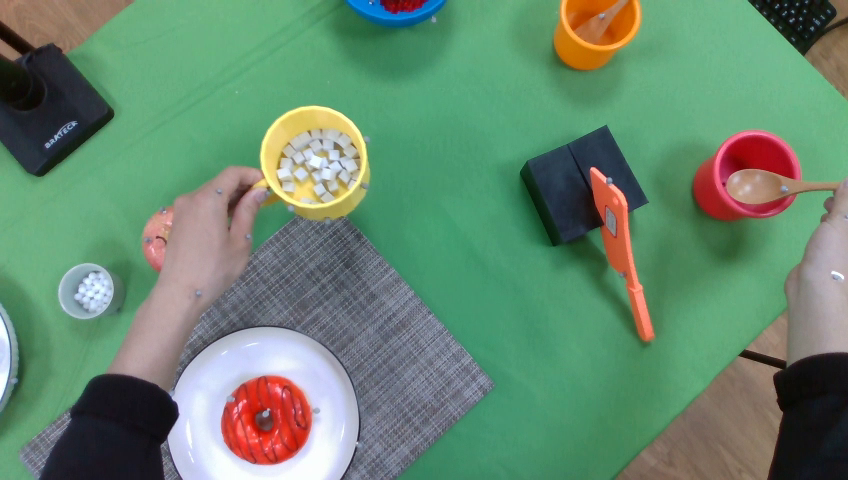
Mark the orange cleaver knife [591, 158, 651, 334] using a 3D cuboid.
[{"bbox_3d":[0.218,0.010,0.674,0.012,0.076,0.213,-22,116,-2],"label":"orange cleaver knife"}]

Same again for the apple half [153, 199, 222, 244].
[{"bbox_3d":[-0.256,-0.026,0.676,0.081,0.081,0.033,28,87,3],"label":"apple half"}]

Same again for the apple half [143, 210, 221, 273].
[{"bbox_3d":[-0.273,0.008,0.674,0.081,0.074,0.053,28,88,-1],"label":"apple half"}]

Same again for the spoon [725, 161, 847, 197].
[{"bbox_3d":[0.402,-0.059,0.599,0.022,0.192,0.041,34,71,-42],"label":"spoon"}]

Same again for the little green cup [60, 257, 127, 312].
[{"bbox_3d":[-0.370,0.052,0.684,0.061,0.039,0.061,0,83,0],"label":"little green cup"}]

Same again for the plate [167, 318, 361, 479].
[{"bbox_3d":[-0.172,0.190,0.669,0.209,0.038,0.208,0,84,-1],"label":"plate"}]

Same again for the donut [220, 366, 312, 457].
[{"bbox_3d":[-0.170,0.187,0.658,0.099,0.048,0.099,0,86,-1],"label":"donut"}]

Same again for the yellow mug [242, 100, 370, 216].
[{"bbox_3d":[-0.119,-0.071,0.595,0.131,0.064,0.099,-30,85,-6],"label":"yellow mug"}]

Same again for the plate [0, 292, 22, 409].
[{"bbox_3d":[-0.548,0.129,0.673,0.208,0.039,0.207,0,84,-1],"label":"plate"}]

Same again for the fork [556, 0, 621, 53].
[{"bbox_3d":[0.232,-0.283,0.675,0.207,0.018,0.028,-37,81,39],"label":"fork"}]

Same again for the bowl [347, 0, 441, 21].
[{"bbox_3d":[-0.034,-0.318,0.710,0.151,0.077,0.151,0,84,-1],"label":"bowl"}]
